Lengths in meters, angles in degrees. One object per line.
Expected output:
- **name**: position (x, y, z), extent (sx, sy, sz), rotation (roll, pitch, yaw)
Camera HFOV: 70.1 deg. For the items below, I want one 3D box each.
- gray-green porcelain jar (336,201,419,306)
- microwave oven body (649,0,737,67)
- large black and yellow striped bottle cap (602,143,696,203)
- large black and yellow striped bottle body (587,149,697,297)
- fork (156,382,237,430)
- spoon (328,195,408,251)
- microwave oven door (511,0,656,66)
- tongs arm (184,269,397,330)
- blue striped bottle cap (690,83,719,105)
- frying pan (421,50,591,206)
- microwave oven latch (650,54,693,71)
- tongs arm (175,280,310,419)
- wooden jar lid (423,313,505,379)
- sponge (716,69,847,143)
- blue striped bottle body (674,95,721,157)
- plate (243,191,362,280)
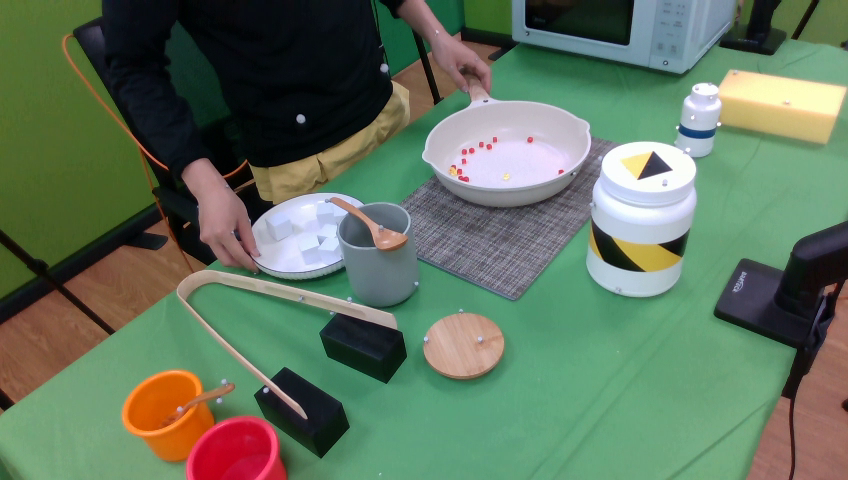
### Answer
- **gray-green porcelain jar**: position (-0.064, 0.024, 0.872), extent (0.106, 0.127, 0.105), rotation (-4, 41, 4)
- **microwave oven body**: position (0.475, -0.602, 1.411), extent (0.438, 0.261, 0.327), rotation (23, 50, 32)
- **large black and yellow striped bottle cap**: position (0.289, -0.088, 0.779), extent (0.115, 0.019, 0.114), rotation (-5, 39, 4)
- **large black and yellow striped bottle body**: position (0.298, -0.026, 0.835), extent (0.131, 0.185, 0.130), rotation (-4, 41, 4)
- **fork**: position (-0.262, 0.189, 0.690), extent (0.018, 0.206, 0.028), rotation (49, 43, -7)
- **spoon**: position (-0.083, -0.030, 0.829), extent (0.042, 0.022, 0.192), rotation (-30, 42, -22)
- **microwave oven door**: position (0.351, -0.539, 1.349), extent (0.353, 0.245, 0.039), rotation (24, 50, 31)
- **tongs arm**: position (-0.203, 0.085, 0.847), extent (0.382, 0.027, 0.051), rotation (11, 45, 35)
- **blue striped bottle cap**: position (0.481, -0.251, 1.038), extent (0.044, 0.021, 0.044), rotation (-5, 39, 4)
- **frying pan**: position (0.127, -0.233, 1.154), extent (0.307, 0.103, 0.484), rotation (-11, 49, -5)
- **microwave oven latch**: position (0.531, -0.386, 1.301), extent (0.078, 0.029, 0.030), rotation (26, 51, 33)
- **tongs arm**: position (-0.254, 0.133, 0.801), extent (0.028, 0.028, 0.384), rotation (-41, 41, -23)
- **wooden jar lid**: position (0.053, 0.142, 0.800), extent (0.108, 0.021, 0.108), rotation (-4, 39, 4)
- **sponge**: position (0.663, -0.256, 1.142), extent (0.205, 0.061, 0.118), rotation (19, 47, 28)
- **blue striped bottle body**: position (0.486, -0.213, 1.072), extent (0.063, 0.121, 0.063), rotation (-4, 41, 4)
- **plate**: position (-0.187, -0.005, 0.992), extent (0.207, 0.039, 0.206), rotation (-4, 41, 4)
